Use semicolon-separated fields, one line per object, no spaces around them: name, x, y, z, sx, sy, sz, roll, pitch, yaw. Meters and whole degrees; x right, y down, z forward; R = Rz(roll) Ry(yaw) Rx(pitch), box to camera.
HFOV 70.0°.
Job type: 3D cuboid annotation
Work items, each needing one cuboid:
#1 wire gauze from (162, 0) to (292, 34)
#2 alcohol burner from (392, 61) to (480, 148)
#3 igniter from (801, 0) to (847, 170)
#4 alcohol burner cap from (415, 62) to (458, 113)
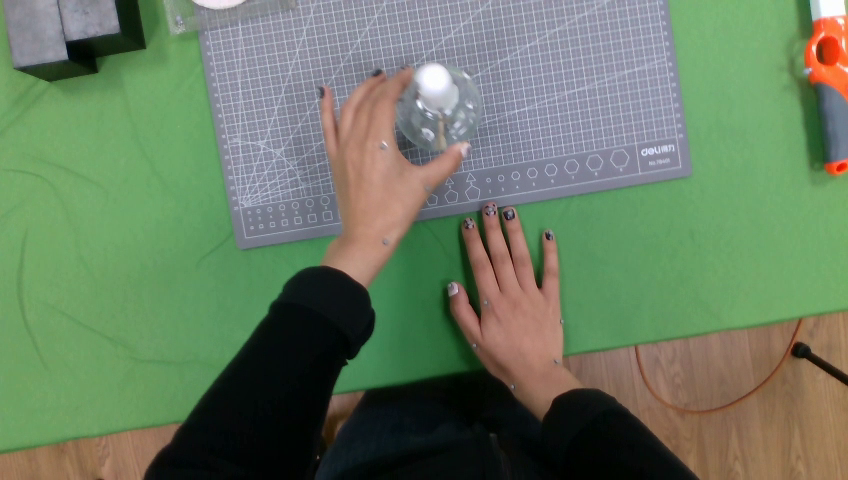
wire gauze;-0.201;-0.268;0.575;0.125;0.011;0.121;-15;92;1
alcohol burner;0.010;-0.122;0.520;0.078;0.119;0.077;0;83;2
igniter;0.384;-0.206;0.578;0.057;0.025;0.276;-9;93;-11
alcohol burner cap;0.008;-0.123;0.484;0.034;0.048;0.034;0;87;9
